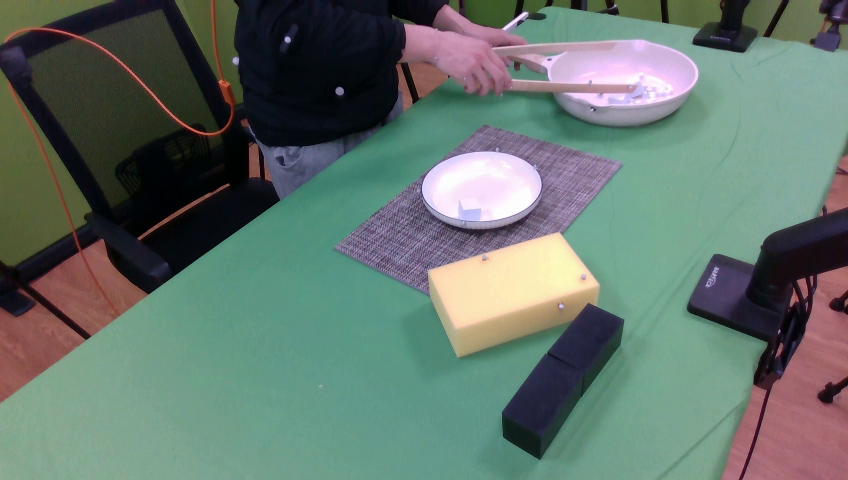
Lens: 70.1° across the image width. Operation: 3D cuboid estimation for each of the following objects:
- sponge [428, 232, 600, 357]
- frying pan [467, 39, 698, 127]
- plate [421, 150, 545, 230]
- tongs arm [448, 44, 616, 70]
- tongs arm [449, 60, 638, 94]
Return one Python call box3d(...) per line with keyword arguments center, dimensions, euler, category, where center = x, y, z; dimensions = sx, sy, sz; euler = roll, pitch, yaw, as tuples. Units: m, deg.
box3d(center=(0.120, 0.071, 0.834), dimensions=(0.207, 0.061, 0.117), euler=(-16, 43, -12), category="sponge")
box3d(center=(0.312, -0.359, 1.277), dimensions=(0.485, 0.103, 0.307), euler=(23, 48, 19), category="frying pan")
box3d(center=(0.100, -0.082, 1.031), dimensions=(0.207, 0.039, 0.206), euler=(-4, 40, 4), category="plate")
box3d(center=(0.213, -0.352, 1.142), dimensions=(0.390, 0.027, 0.028), euler=(-12, 72, -26), category="tongs arm")
box3d(center=(0.230, -0.298, 1.119), dimensions=(0.387, 0.026, 0.050), euler=(-5, 66, -23), category="tongs arm")
